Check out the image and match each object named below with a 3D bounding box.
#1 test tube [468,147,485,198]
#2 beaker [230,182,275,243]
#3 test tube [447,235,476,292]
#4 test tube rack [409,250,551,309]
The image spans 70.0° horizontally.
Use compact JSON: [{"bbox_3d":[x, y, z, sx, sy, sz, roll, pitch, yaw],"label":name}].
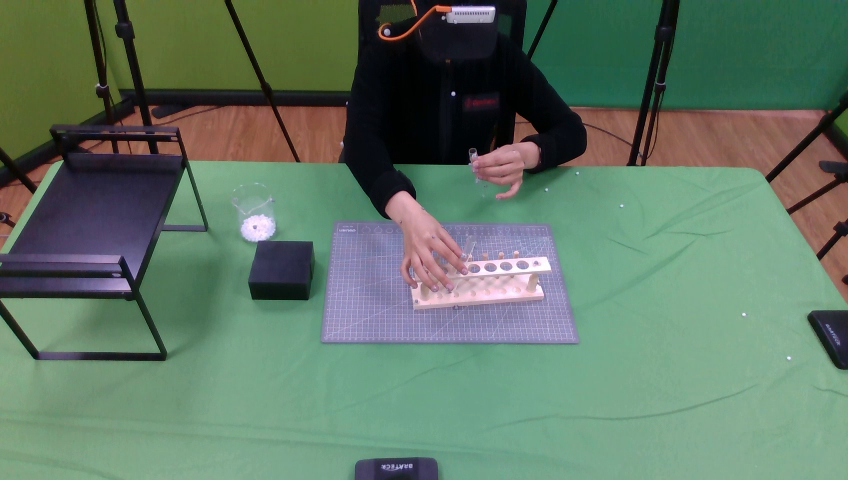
[{"bbox_3d":[0.105,-0.131,1.204,0.017,0.151,0.017,-6,57,10],"label":"test tube"},{"bbox_3d":[-0.328,-0.049,1.166,0.074,0.101,0.083,2,47,-2],"label":"beaker"},{"bbox_3d":[0.063,0.044,1.040,0.017,0.151,0.017,8,50,-9],"label":"test tube"},{"bbox_3d":[0.098,0.065,1.096,0.243,0.085,0.066,-4,47,-8],"label":"test tube rack"}]
